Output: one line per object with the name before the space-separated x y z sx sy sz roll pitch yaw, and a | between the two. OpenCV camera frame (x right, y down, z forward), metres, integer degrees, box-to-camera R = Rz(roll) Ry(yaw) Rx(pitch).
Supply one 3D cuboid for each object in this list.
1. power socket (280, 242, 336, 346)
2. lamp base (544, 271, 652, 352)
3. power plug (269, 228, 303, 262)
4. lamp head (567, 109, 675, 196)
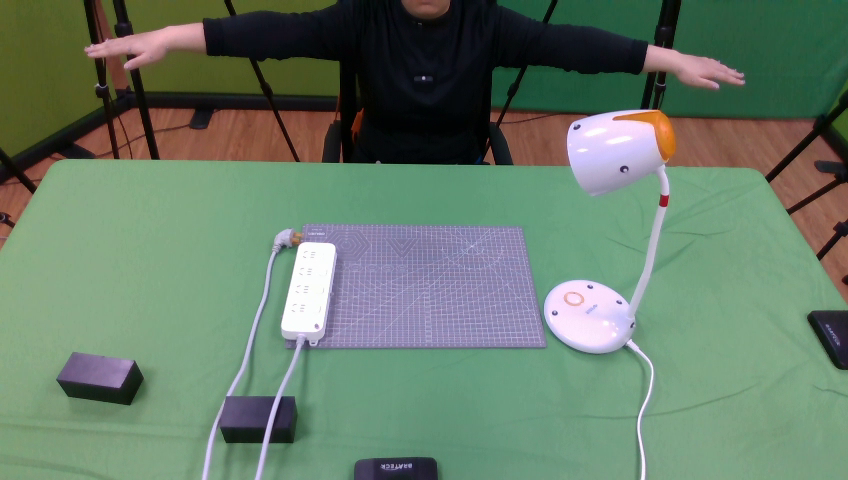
power socket | -0.206 0.087 1.087 0.072 0.033 0.225 3 46 -1
lamp base | 0.309 0.086 1.029 0.178 0.181 0.160 32 52 21
power plug | -0.265 0.012 1.172 0.052 0.035 0.072 8 80 10
lamp head | 0.272 -0.123 0.818 0.122 0.113 0.112 -9 35 37
